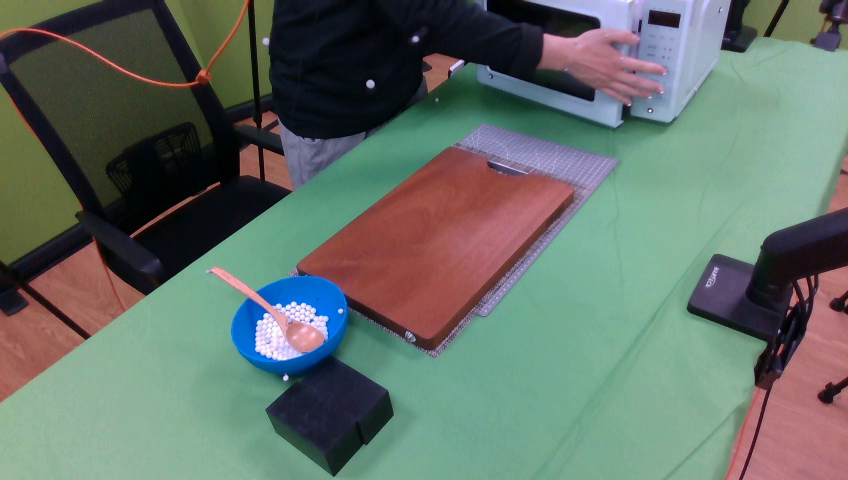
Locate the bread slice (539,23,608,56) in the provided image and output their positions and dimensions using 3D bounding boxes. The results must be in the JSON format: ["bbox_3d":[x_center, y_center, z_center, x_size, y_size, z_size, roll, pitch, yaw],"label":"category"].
[{"bbox_3d":[0.336,-0.448,1.336,0.132,0.019,0.104,-27,43,-19],"label":"bread slice"}]

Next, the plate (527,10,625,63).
[{"bbox_3d":[0.332,-0.442,1.329,0.207,0.039,0.206,-5,44,5],"label":"plate"}]

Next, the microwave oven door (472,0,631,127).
[{"bbox_3d":[0.241,-0.382,1.186,0.353,0.245,0.039,28,52,35],"label":"microwave oven door"}]

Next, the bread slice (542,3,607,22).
[{"bbox_3d":[0.323,-0.484,1.279,0.106,0.018,0.135,19,35,29],"label":"bread slice"}]

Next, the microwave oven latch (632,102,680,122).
[{"bbox_3d":[0.443,-0.249,1.157,0.078,0.029,0.030,21,48,30],"label":"microwave oven latch"}]

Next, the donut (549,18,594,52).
[{"bbox_3d":[0.316,-0.443,1.301,0.099,0.048,0.098,-18,37,14],"label":"donut"}]

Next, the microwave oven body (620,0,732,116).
[{"bbox_3d":[0.377,-0.463,1.267,0.438,0.261,0.327,21,49,30],"label":"microwave oven body"}]

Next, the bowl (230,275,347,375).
[{"bbox_3d":[-0.171,0.125,0.802,0.151,0.077,0.150,-4,40,4],"label":"bowl"}]

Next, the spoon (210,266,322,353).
[{"bbox_3d":[-0.213,0.088,0.806,0.193,0.021,0.042,37,55,12],"label":"spoon"}]
